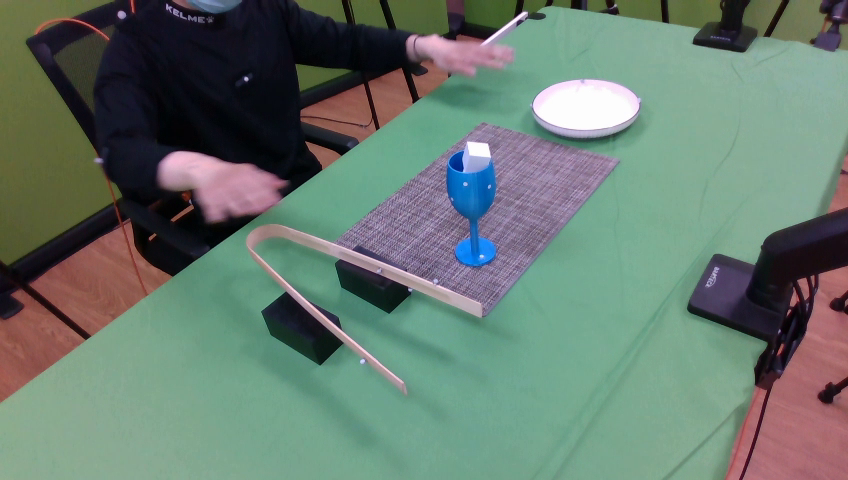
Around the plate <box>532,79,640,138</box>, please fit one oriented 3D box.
[{"bbox_3d":[0.322,-0.259,1.212,0.209,0.038,0.208,-4,40,4],"label":"plate"}]

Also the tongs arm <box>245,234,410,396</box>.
[{"bbox_3d":[-0.145,0.089,0.810,0.028,0.028,0.384,-38,49,-23],"label":"tongs arm"}]

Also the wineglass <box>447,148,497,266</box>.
[{"bbox_3d":[0.073,-0.046,0.889,0.074,0.173,0.073,-4,41,4],"label":"wineglass"}]

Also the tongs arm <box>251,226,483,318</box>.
[{"bbox_3d":[-0.094,0.045,0.853,0.382,0.026,0.051,21,50,29],"label":"tongs arm"}]
